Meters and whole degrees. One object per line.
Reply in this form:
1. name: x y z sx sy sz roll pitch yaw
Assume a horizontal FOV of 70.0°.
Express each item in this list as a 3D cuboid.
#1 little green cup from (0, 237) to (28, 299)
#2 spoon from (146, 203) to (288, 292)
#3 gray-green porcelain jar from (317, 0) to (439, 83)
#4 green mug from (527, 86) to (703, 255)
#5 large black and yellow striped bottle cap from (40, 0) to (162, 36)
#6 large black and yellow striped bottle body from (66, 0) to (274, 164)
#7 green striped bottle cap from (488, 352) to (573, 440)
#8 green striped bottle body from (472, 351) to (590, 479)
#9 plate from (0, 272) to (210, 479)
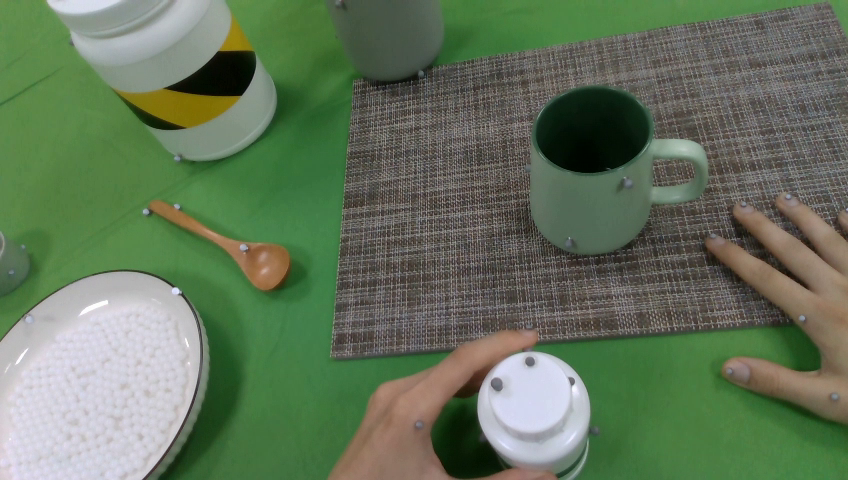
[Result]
1. little green cup: -0.417 0.027 0.580 0.061 0.039 0.061 -6 59 10
2. spoon: -0.193 -0.002 0.551 0.192 0.022 0.041 24 87 24
3. gray-green porcelain jar: -0.044 -0.225 0.579 0.106 0.128 0.105 -6 55 10
4. green mug: 0.137 -0.048 0.444 0.125 0.106 0.092 1 61 15
5. large black and yellow striped bottle cap: -0.255 -0.212 0.493 0.115 0.019 0.114 -6 59 10
6. large black and yellow striped bottle body: -0.236 -0.173 0.564 0.130 0.186 0.129 -6 60 11
7. green striped bottle cap: 0.057 0.083 0.323 0.044 0.020 0.044 -6 60 11
8. green striped bottle body: 0.067 0.108 0.370 0.063 0.120 0.062 -7 62 14
9. plate: -0.265 0.125 0.487 0.209 0.038 0.207 -6 59 10
